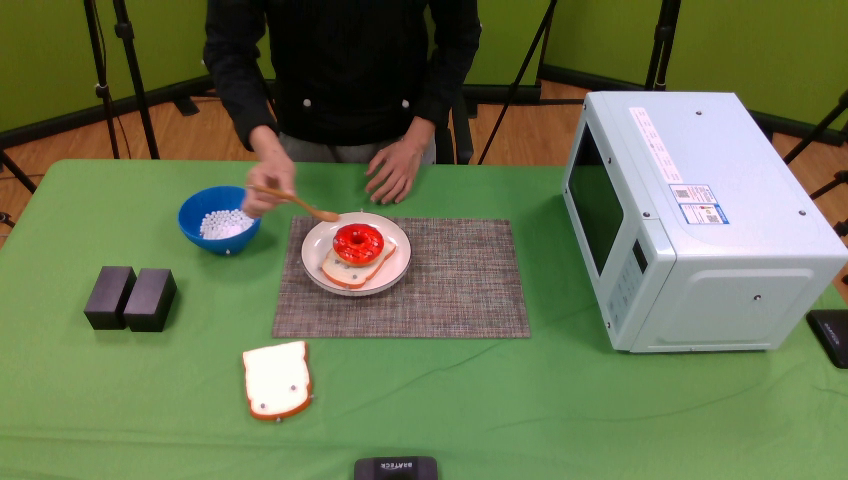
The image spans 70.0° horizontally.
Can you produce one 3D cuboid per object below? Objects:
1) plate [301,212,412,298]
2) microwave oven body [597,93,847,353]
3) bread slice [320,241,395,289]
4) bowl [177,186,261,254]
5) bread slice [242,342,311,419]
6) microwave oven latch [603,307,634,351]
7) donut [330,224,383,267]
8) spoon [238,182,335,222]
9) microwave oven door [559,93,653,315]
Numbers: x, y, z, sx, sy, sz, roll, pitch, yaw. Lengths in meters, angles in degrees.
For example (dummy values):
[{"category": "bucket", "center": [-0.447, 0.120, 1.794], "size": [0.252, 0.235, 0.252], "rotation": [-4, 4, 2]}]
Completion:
[{"category": "plate", "center": [-0.126, 0.031, 1.145], "size": [0.208, 0.039, 0.206], "rotation": [2, 46, -2]}, {"category": "microwave oven body", "center": [0.475, -0.041, 1.109], "size": [0.326, 0.261, 0.438], "rotation": [-1, 45, -4]}, {"category": "bread slice", "center": [-0.129, 0.038, 1.141], "size": [0.107, 0.018, 0.134], "rotation": [19, 46, 14]}, {"category": "bowl", "center": [-0.383, -0.026, 1.158], "size": [0.151, 0.077, 0.150], "rotation": [2, 46, -2]}, {"category": "bread slice", "center": [-0.233, 0.223, 0.970], "size": [0.105, 0.019, 0.130], "rotation": [-10, 46, -13]}, {"category": "microwave oven latch", "center": [0.332, 0.153, 1.044], "size": [0.030, 0.029, 0.078], "rotation": [0, 45, -4]}, {"category": "donut", "center": [-0.125, 0.010, 1.127], "size": [0.099, 0.048, 0.098], "rotation": [3, 46, -3]}, {"category": "spoon", "center": [-0.225, -0.065, 1.007], "size": [0.041, 0.195, 0.021], "rotation": [41, 100, 42]}, {"category": "microwave oven door", "center": [0.327, -0.074, 1.123], "size": [0.039, 0.245, 0.353], "rotation": [-1, 46, -5]}]
